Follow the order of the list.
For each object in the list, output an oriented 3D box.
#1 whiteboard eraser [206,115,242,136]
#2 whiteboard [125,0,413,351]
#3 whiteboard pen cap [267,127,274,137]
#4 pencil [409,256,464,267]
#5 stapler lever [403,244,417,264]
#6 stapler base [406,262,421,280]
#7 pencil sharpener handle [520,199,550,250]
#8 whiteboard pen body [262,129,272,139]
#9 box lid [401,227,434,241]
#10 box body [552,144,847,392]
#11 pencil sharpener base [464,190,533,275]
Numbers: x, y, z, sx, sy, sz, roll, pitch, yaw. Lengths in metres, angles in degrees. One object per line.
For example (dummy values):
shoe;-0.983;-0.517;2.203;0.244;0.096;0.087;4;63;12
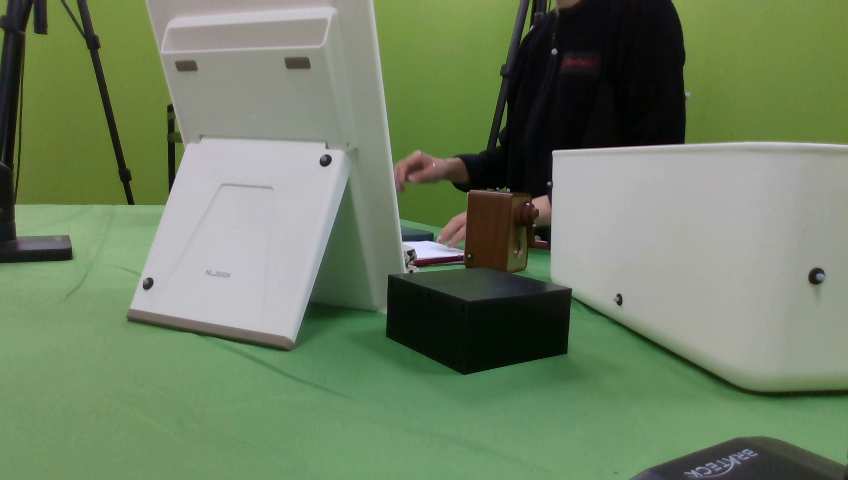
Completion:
whiteboard eraser;-0.438;-0.249;1.320;0.056;0.042;0.112;-3;9;-30
whiteboard;-0.151;-0.050;0.471;0.216;0.305;0.144;6;27;24
whiteboard pen cap;-0.340;-0.239;1.337;0.018;0.018;0.033;1;-1;-15
pencil;0.041;0.028;0.850;0.195;0.012;0.012;-5;11;-45
stapler lever;-0.066;0.003;0.755;0.117;0.040;0.027;9;13;23
stapler base;-0.069;0.027;0.759;0.130;0.024;0.041;9;13;23
pencil sharpener handle;0.147;-0.019;0.785;0.030;0.068;0.036;8;26;36
whiteboard pen body;-0.361;-0.245;1.393;0.017;0.017;0.140;0;5;-20
box lid;-0.196;-0.015;1.105;0.373;0.015;0.262;-1;7;-32
box body;0.290;0.002;0.549;0.255;0.160;0.363;2;7;-10
pencil sharpener base;0.102;-0.012;0.813;0.076;0.107;0.061;8;9;36
